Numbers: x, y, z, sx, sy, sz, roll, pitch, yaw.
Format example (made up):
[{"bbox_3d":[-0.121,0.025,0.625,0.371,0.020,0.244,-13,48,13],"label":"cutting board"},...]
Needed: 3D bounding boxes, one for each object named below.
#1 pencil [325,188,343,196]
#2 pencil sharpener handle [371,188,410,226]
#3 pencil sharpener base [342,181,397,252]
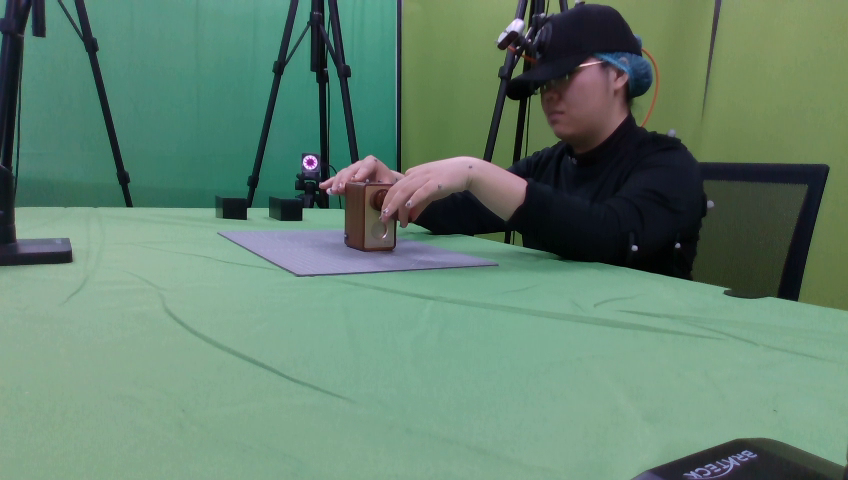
[{"bbox_3d":[-0.126,-0.076,1.021,0.012,0.012,0.193,-2,9,-32],"label":"pencil"},{"bbox_3d":[-0.048,-0.048,0.919,0.036,0.068,0.030,-48,30,-18],"label":"pencil sharpener handle"},{"bbox_3d":[-0.086,-0.039,0.957,0.062,0.107,0.076,-3,9,-34],"label":"pencil sharpener base"}]
